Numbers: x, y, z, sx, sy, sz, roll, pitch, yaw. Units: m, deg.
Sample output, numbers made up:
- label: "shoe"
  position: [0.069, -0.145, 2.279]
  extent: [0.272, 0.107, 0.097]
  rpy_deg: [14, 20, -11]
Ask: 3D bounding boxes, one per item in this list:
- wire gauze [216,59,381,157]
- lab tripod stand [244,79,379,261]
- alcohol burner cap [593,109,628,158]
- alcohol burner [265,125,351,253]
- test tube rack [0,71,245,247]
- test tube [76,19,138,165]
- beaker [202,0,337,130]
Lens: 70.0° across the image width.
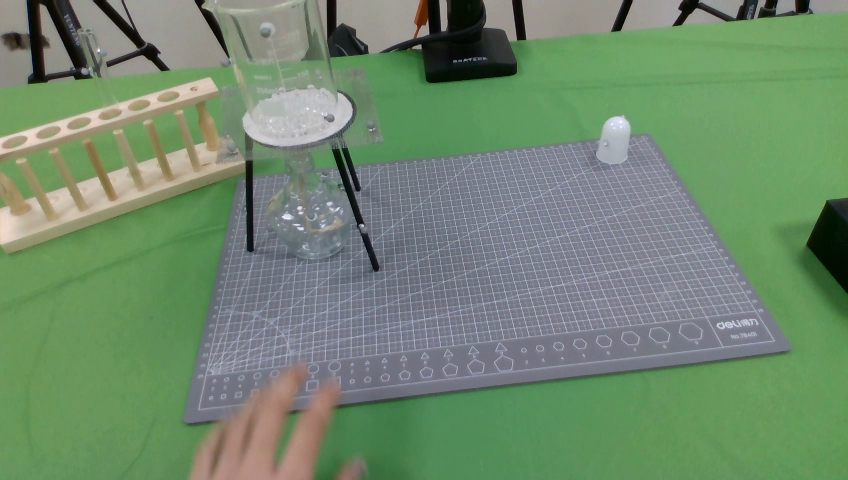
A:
- label: "wire gauze"
  position: [-0.103, -0.106, 0.483]
  extent: [0.125, 0.011, 0.120]
  rpy_deg: [-12, 42, -3]
- label: "lab tripod stand"
  position: [-0.098, -0.059, 0.528]
  extent: [0.148, 0.133, 0.147]
  rpy_deg: [-3, 45, 3]
- label: "alcohol burner cap"
  position: [0.194, -0.112, 0.626]
  extent: [0.034, 0.048, 0.033]
  rpy_deg: [-2, 43, 3]
- label: "alcohol burner"
  position: [-0.104, -0.047, 0.531]
  extent: [0.078, 0.120, 0.077]
  rpy_deg: [-3, 41, 3]
- label: "test tube rack"
  position: [-0.317, -0.087, 0.616]
  extent: [0.243, 0.086, 0.066]
  rpy_deg: [-23, 46, -19]
- label: "test tube"
  position: [-0.312, -0.141, 0.599]
  extent: [0.017, 0.151, 0.017]
  rpy_deg: [0, 37, 0]
- label: "beaker"
  position: [-0.109, -0.139, 0.447]
  extent: [0.084, 0.101, 0.073]
  rpy_deg: [-5, 43, 2]
